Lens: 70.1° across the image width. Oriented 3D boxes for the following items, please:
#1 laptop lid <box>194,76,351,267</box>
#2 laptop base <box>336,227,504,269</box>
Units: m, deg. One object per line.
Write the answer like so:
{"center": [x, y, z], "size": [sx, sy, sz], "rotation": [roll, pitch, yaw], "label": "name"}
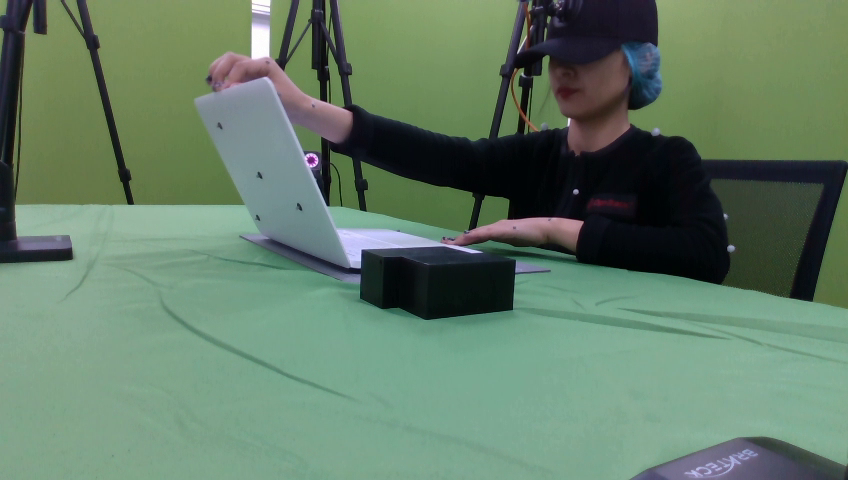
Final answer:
{"center": [-0.218, -0.089, 0.810], "size": [0.013, 0.242, 0.355], "rotation": [-32, 24, -25], "label": "laptop lid"}
{"center": [-0.077, 0.009, 0.914], "size": [0.237, 0.023, 0.352], "rotation": [1, 6, -33], "label": "laptop base"}
